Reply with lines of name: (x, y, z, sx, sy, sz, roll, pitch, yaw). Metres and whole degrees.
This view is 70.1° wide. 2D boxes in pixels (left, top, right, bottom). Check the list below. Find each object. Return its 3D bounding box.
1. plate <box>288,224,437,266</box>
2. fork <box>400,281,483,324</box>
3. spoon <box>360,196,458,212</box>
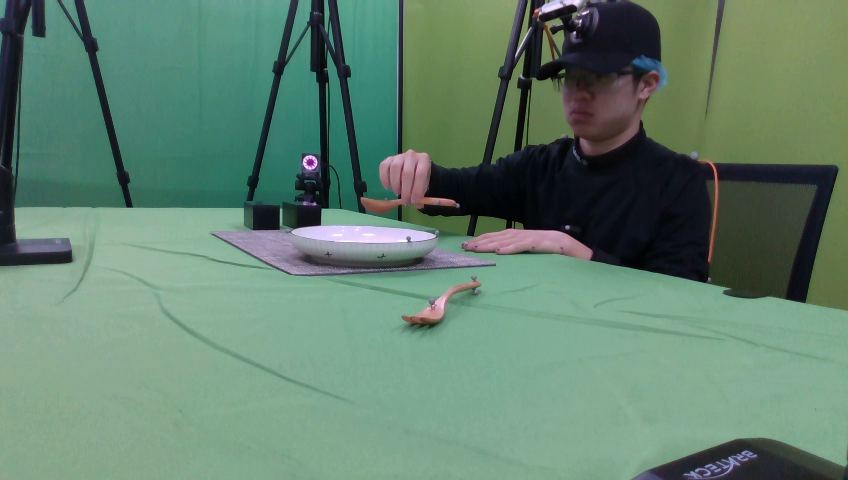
plate: (-0.086, 0.007, 0.852, 0.208, 0.039, 0.207, 3, 7, 0)
fork: (0.025, 0.057, 0.590, 0.028, 0.018, 0.208, -2, 7, 21)
spoon: (-0.028, -0.060, 0.949, 0.193, 0.021, 0.042, -2, -33, 36)
